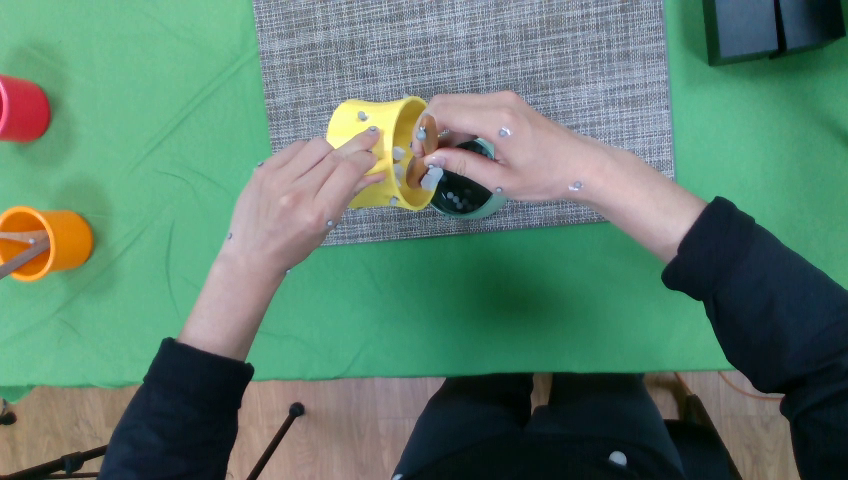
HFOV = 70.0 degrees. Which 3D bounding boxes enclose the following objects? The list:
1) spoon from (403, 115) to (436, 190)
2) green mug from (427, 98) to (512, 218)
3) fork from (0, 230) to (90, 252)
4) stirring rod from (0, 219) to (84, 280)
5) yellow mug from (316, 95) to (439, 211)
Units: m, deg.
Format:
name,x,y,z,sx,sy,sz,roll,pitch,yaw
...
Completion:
name,x,y,z,sx,sy,sz,roll,pitch,yaw
spoon,0.000,-0.068,0.475,0.021,0.193,0.041,35,85,-2
green mug,0.046,-0.084,0.628,0.092,0.105,0.125,12,98,12
fork,-0.526,-0.006,0.739,0.209,0.018,0.028,7,97,-32
stirring rod,-0.501,0.028,0.743,0.014,0.006,0.176,46,61,3
yellow mug,-0.043,-0.072,0.530,0.063,0.131,0.100,3,111,27
